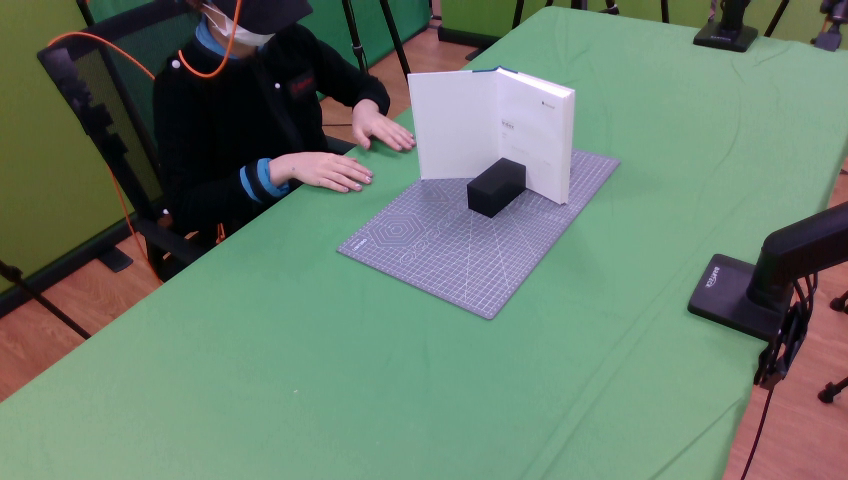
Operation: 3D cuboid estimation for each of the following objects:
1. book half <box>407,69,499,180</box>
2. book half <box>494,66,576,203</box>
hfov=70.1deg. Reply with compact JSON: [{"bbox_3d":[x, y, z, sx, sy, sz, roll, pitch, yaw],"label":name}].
[{"bbox_3d":[0.054,-0.191,1.034,0.143,0.211,0.007,-2,42,7],"label":"book half"},{"bbox_3d":[0.179,-0.167,0.988,0.016,0.211,0.147,-36,48,-28],"label":"book half"}]
